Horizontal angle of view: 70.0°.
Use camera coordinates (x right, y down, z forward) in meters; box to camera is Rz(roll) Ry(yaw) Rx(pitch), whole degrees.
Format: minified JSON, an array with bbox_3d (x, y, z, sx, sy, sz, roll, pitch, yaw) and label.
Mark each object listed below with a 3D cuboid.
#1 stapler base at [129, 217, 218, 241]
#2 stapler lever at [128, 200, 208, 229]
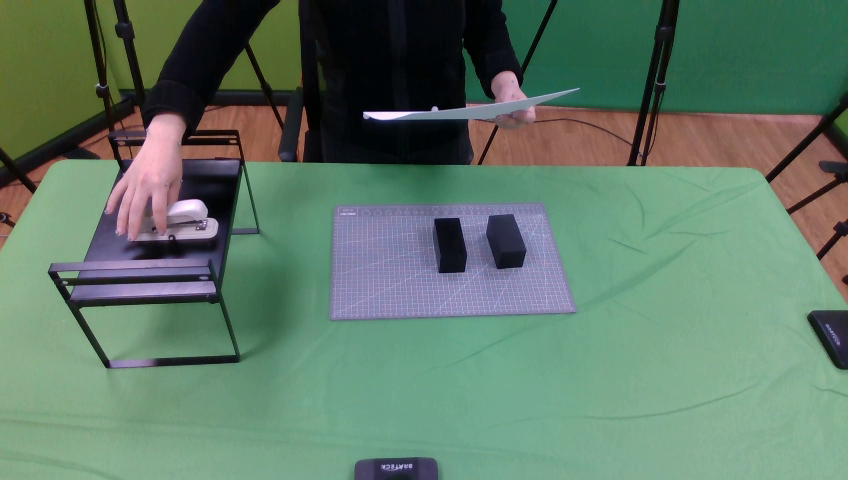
[{"bbox_3d":[-0.390,-0.023,0.940,0.131,0.024,0.041,-4,44,-5],"label":"stapler base"},{"bbox_3d":[-0.390,-0.039,0.922,0.118,0.040,0.026,-3,44,-6],"label":"stapler lever"}]
